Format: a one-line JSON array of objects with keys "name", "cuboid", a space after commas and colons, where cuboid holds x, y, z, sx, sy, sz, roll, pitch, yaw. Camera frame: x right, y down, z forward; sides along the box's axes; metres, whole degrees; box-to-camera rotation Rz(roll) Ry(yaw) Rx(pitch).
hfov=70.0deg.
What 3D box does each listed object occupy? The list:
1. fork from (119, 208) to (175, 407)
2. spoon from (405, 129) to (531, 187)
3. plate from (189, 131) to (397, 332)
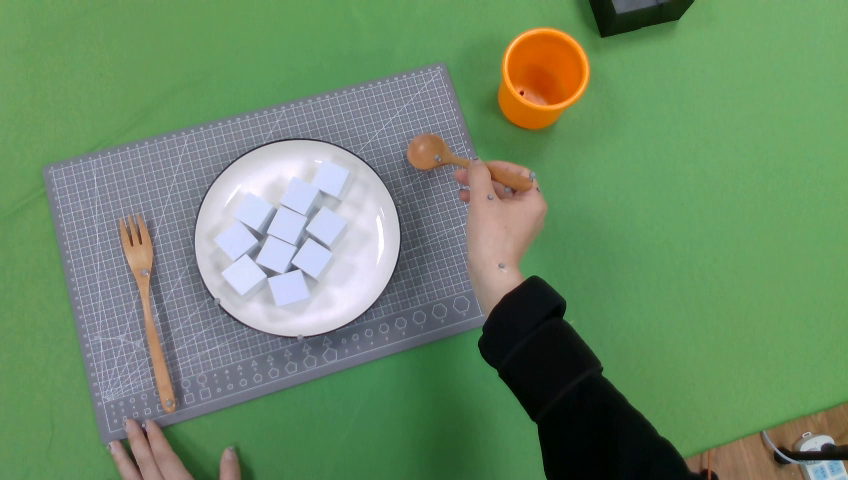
[{"name": "fork", "cuboid": [-0.279, 0.067, 0.616, 0.028, 0.018, 0.206, -14, 79, -12]}, {"name": "spoon", "cuboid": [0.036, -0.077, 0.589, 0.022, 0.192, 0.041, 30, 90, -35]}, {"name": "plate", "cuboid": [-0.132, -0.008, 0.629, 0.208, 0.039, 0.207, 1, 80, -4]}]
